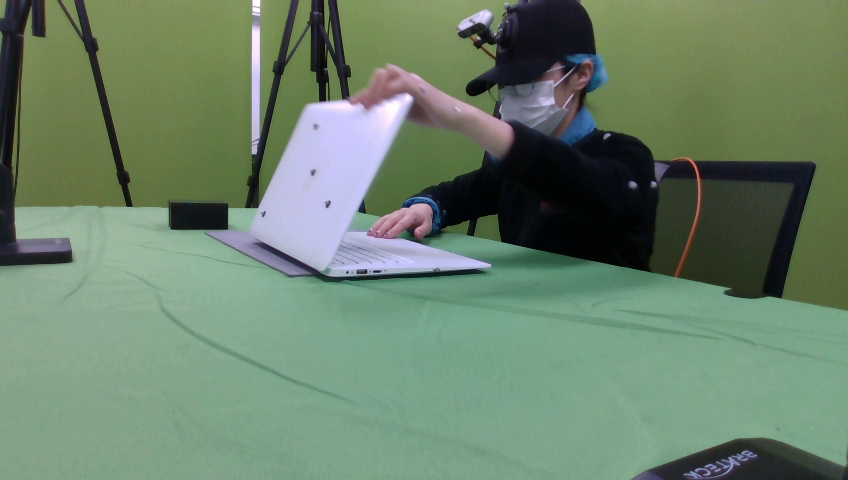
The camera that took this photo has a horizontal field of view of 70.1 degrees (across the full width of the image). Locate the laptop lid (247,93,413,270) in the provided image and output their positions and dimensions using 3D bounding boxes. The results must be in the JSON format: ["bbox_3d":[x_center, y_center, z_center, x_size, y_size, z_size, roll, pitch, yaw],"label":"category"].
[{"bbox_3d":[-0.149,-0.093,0.840,0.013,0.241,0.355,30,-6,-31],"label":"laptop lid"}]

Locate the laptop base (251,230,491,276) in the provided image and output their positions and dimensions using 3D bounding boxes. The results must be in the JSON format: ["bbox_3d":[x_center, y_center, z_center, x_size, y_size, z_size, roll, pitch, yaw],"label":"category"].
[{"bbox_3d":[-0.095,0.015,0.889,0.237,0.023,0.352,2,7,-30],"label":"laptop base"}]
